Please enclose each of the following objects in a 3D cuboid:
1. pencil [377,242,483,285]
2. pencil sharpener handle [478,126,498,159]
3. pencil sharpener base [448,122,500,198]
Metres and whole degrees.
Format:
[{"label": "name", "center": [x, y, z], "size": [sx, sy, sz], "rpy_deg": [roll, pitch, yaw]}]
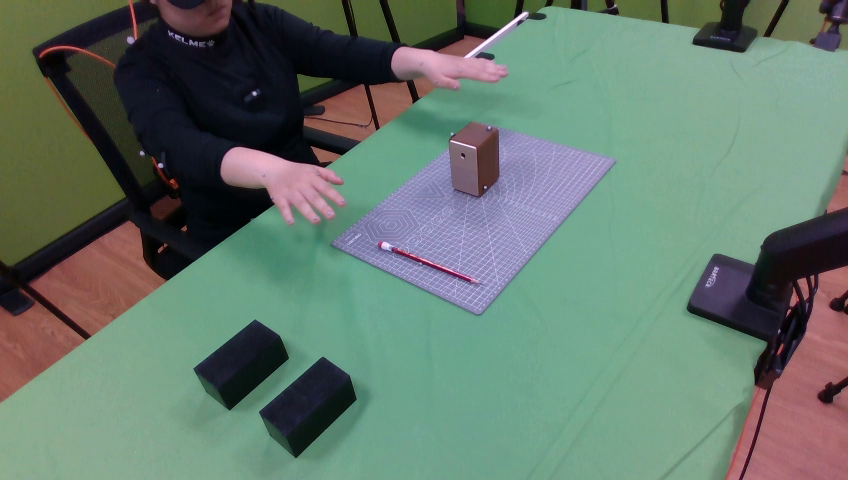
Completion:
[{"label": "pencil", "center": [0.006, 0.036, 0.930], "size": [0.192, 0.012, 0.012], "rpy_deg": [20, 47, 27]}, {"label": "pencil sharpener handle", "center": [0.119, -0.179, 1.075], "size": [0.035, 0.068, 0.031], "rpy_deg": [21, 47, 30]}, {"label": "pencil sharpener base", "center": [0.090, -0.141, 1.052], "size": [0.061, 0.107, 0.077], "rpy_deg": [20, 47, 30]}]
